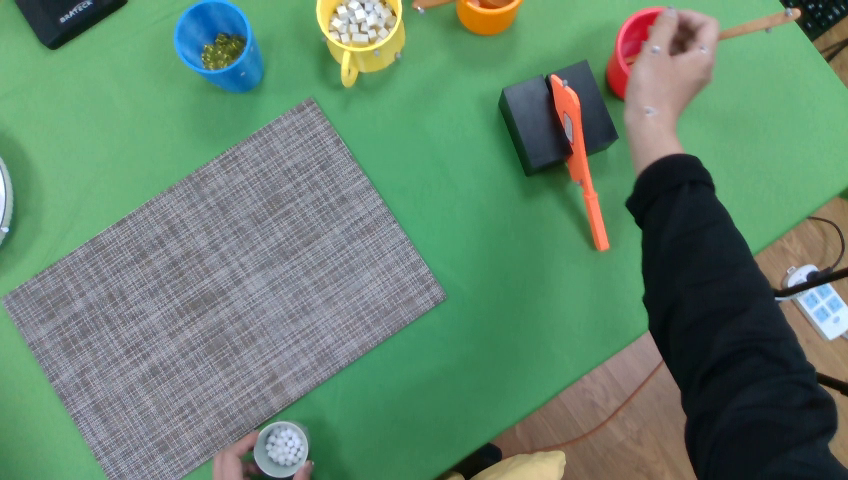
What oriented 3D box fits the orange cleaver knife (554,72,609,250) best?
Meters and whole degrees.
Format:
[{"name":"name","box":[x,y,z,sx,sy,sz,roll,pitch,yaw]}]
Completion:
[{"name":"orange cleaver knife","box":[0.182,-0.089,0.704,0.012,0.076,0.213,-19,114,1]}]

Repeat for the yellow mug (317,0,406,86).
[{"name":"yellow mug","box":[-0.077,-0.249,0.730,0.100,0.064,0.130,14,86,2]}]

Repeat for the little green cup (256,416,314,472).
[{"name":"little green cup","box":[-0.158,0.234,0.701,0.061,0.039,0.061,0,86,4]}]

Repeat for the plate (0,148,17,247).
[{"name":"plate","box":[-0.590,-0.046,0.730,0.208,0.039,0.207,0,85,1]}]

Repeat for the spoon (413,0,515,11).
[{"name":"spoon","box":[0.049,-0.278,0.690,0.041,0.194,0.021,54,132,6]}]

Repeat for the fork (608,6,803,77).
[{"name":"fork","box":[0.308,-0.223,0.683,0.206,0.019,0.028,-10,79,42]}]

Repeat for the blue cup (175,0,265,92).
[{"name":"blue cup","box":[-0.229,-0.219,0.711,0.092,0.100,0.092,0,85,-1]}]
